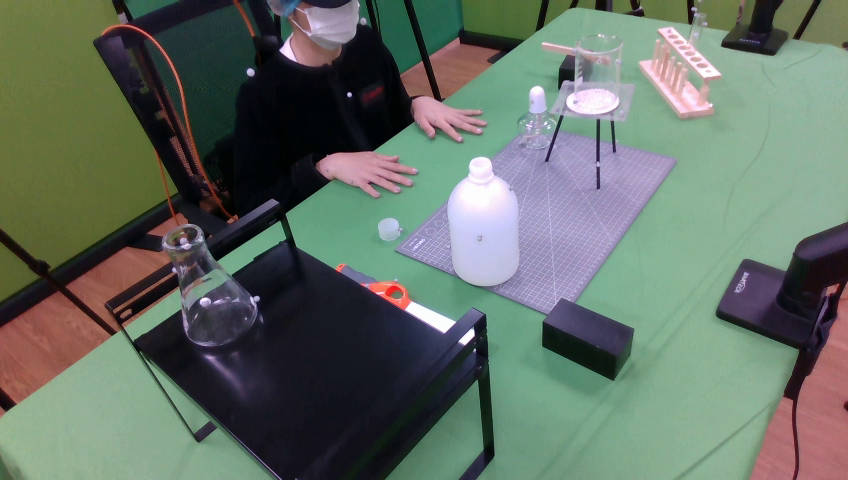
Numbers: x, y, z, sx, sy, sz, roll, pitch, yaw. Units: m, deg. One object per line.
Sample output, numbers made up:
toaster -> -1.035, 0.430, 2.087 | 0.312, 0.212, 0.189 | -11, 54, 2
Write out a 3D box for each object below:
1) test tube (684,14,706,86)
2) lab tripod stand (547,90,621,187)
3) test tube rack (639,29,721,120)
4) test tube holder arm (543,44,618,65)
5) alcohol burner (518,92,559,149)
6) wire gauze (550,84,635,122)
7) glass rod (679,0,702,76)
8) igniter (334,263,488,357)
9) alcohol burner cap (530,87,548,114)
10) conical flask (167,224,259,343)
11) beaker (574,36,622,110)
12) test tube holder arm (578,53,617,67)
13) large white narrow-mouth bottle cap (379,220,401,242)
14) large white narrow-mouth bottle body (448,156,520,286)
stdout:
test tube -> 0.540, -0.378, 1.215 | 0.017, 0.151, 0.017 | -2, 44, 3
lab tripod stand -> 0.289, -0.184, 1.062 | 0.148, 0.132, 0.147 | -6, 41, 6
test tube rack -> 0.527, -0.351, 1.262 | 0.067, 0.085, 0.241 | -8, 40, 1
test tube holder arm -> 0.344, -0.412, 1.340 | 0.177, 0.015, 0.013 | 25, 49, 31
alcohol burner -> 0.218, -0.234, 1.149 | 0.078, 0.119, 0.077 | -5, 43, 5
wire gauze -> 0.285, -0.234, 1.021 | 0.124, 0.011, 0.121 | 8, 41, 23
glass rod -> 0.542, -0.417, 1.233 | 0.008, 0.200, 0.008 | 1, 39, 0
igniter -> -0.030, 0.095, 0.872 | 0.274, 0.025, 0.057 | 23, 59, 31
alcohol burner cap -> 0.212, -0.262, 1.126 | 0.034, 0.048, 0.033 | -9, 36, 7
conical flask -> -0.220, 0.041, 0.613 | 0.075, 0.122, 0.075 | -5, 40, 4
beaker -> 0.285, -0.273, 0.990 | 0.073, 0.101, 0.084 | 15, 46, 27
test tube holder arm -> 0.376, -0.393, 1.314 | 0.087, 0.015, 0.010 | 25, 50, 32
large white narrow-mouth bottle cap -> -0.057, -0.015, 1.011 | 0.038, 0.024, 0.037 | -4, 40, 4
large white narrow-mouth bottle body -> 0.086, -0.032, 0.869 | 0.102, 0.195, 0.101 | -4, 40, 4
